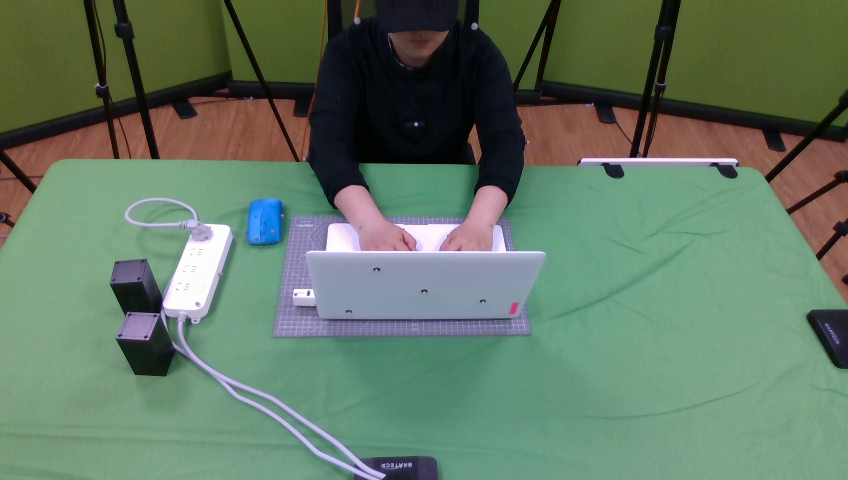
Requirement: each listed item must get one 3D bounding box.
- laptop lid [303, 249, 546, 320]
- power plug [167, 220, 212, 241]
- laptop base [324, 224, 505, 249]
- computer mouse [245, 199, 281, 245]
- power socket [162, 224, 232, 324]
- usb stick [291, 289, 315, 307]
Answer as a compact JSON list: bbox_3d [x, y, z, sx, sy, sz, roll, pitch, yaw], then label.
[{"bbox_3d":[-0.002,0.077,0.962,0.357,0.242,0.013,1,58,-5],"label":"laptop lid"},{"bbox_3d":[-0.438,-0.017,1.143,0.072,0.053,0.035,10,43,7],"label":"power plug"},{"bbox_3d":[-0.014,0.056,1.144,0.355,0.023,0.234,0,42,-4],"label":"laptop base"},{"bbox_3d":[-0.318,-0.039,1.201,0.063,0.041,0.116,0,50,-8],"label":"computer mouse"},{"bbox_3d":[-0.411,0.053,1.106,0.072,0.033,0.225,4,45,-1],"label":"power socket"},{"bbox_3d":[-0.203,0.102,1.066,0.059,0.027,0.021,4,45,-5],"label":"usb stick"}]
